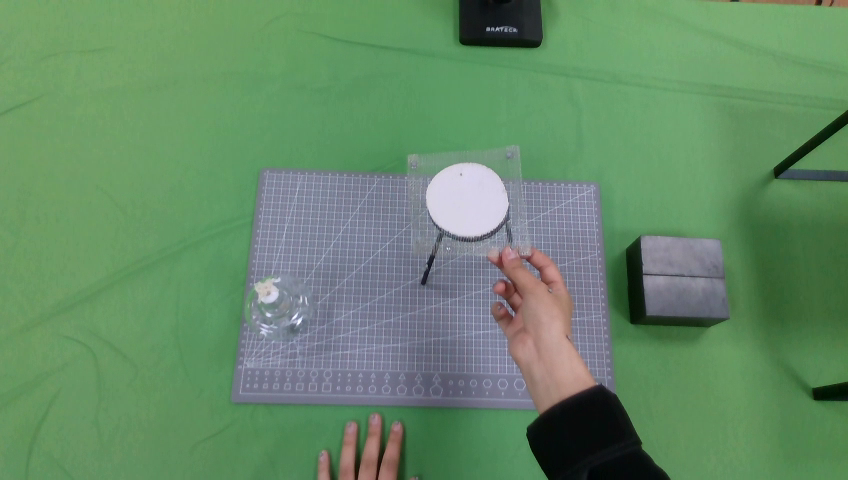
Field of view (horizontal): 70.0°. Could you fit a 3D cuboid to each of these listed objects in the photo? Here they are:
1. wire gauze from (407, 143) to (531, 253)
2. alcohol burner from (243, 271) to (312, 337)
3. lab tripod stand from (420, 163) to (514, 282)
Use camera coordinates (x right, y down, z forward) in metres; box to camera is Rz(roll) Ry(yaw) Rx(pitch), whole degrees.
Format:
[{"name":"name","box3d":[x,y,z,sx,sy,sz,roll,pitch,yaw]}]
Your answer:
[{"name":"wire gauze","box3d":[0.045,-0.043,0.632,0.125,0.011,0.120,-2,71,-1]},{"name":"alcohol burner","box3d":[-0.167,0.068,0.679,0.078,0.119,0.077,1,72,-2]},{"name":"lab tripod stand","box3d":[0.042,-0.024,0.712,0.148,0.132,0.147,1,71,-1]}]
